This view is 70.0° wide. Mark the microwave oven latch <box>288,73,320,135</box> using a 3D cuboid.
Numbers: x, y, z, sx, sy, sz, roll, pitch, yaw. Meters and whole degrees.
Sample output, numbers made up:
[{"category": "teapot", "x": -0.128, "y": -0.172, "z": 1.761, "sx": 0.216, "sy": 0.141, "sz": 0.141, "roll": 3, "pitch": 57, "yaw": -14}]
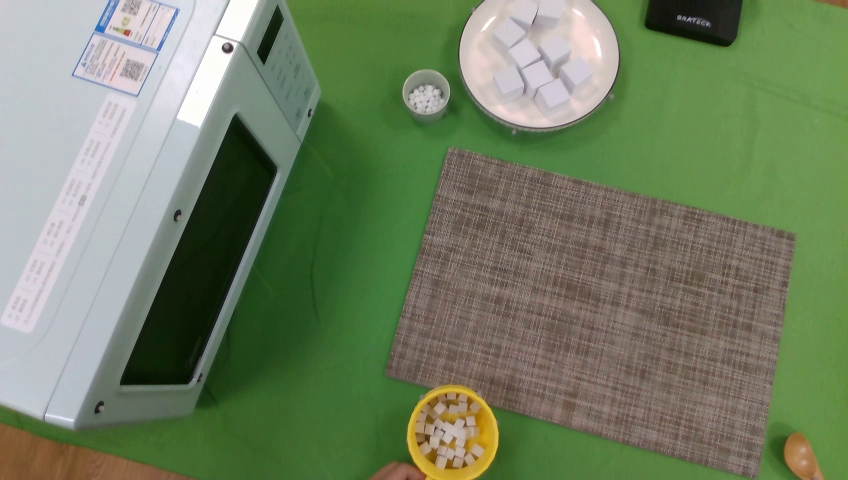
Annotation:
[{"category": "microwave oven latch", "x": -0.157, "y": -0.175, "z": 0.767, "sx": 0.030, "sy": 0.029, "sz": 0.079, "roll": 19, "pitch": 80, "yaw": 5}]

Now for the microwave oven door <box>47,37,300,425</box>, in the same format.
[{"category": "microwave oven door", "x": -0.233, "y": 0.006, "z": 0.628, "sx": 0.039, "sy": 0.245, "sz": 0.354, "roll": 18, "pitch": 79, "yaw": 6}]

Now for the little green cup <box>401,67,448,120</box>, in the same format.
[{"category": "little green cup", "x": 0.001, "y": -0.187, "z": 0.784, "sx": 0.061, "sy": 0.039, "sz": 0.061, "roll": 0, "pitch": 79, "yaw": 0}]

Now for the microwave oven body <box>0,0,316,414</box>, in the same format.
[{"category": "microwave oven body", "x": -0.357, "y": -0.078, "z": 0.652, "sx": 0.326, "sy": 0.261, "sz": 0.440, "roll": 18, "pitch": 80, "yaw": 4}]

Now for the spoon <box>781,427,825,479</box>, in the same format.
[{"category": "spoon", "x": 0.465, "y": 0.301, "z": 0.685, "sx": 0.041, "sy": 0.022, "sz": 0.193, "roll": -28, "pitch": 79, "yaw": -22}]

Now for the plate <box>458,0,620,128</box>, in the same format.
[{"category": "plate", "x": 0.148, "y": -0.241, "z": 0.795, "sx": 0.208, "sy": 0.039, "sz": 0.206, "roll": 0, "pitch": 78, "yaw": 1}]

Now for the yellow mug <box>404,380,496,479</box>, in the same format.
[{"category": "yellow mug", "x": 0.022, "y": 0.226, "z": 0.686, "sx": 0.100, "sy": 0.064, "sz": 0.130, "roll": 27, "pitch": 83, "yaw": 5}]
